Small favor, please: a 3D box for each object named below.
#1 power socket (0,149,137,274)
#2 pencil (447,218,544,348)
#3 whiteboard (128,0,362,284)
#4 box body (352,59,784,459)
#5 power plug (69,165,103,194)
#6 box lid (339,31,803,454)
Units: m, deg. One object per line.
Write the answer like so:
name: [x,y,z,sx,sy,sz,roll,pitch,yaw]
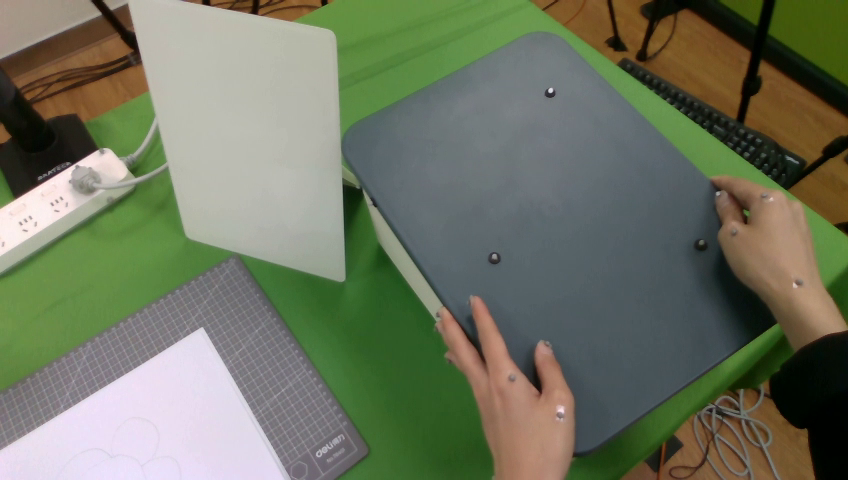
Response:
power socket: [-0.477,-0.039,0.775,0.226,0.033,0.071,-38,65,-20]
pencil: [0.081,0.047,0.706,0.012,0.012,0.192,-28,66,-14]
whiteboard: [-0.167,-0.130,0.694,0.216,0.308,0.143,15,41,12]
box body: [0.124,0.012,0.642,0.254,0.162,0.360,-31,62,-16]
power plug: [-0.420,-0.064,0.761,0.035,0.053,0.072,-30,63,-15]
box lid: [0.112,-0.032,0.541,0.263,0.015,0.368,-30,65,-12]
